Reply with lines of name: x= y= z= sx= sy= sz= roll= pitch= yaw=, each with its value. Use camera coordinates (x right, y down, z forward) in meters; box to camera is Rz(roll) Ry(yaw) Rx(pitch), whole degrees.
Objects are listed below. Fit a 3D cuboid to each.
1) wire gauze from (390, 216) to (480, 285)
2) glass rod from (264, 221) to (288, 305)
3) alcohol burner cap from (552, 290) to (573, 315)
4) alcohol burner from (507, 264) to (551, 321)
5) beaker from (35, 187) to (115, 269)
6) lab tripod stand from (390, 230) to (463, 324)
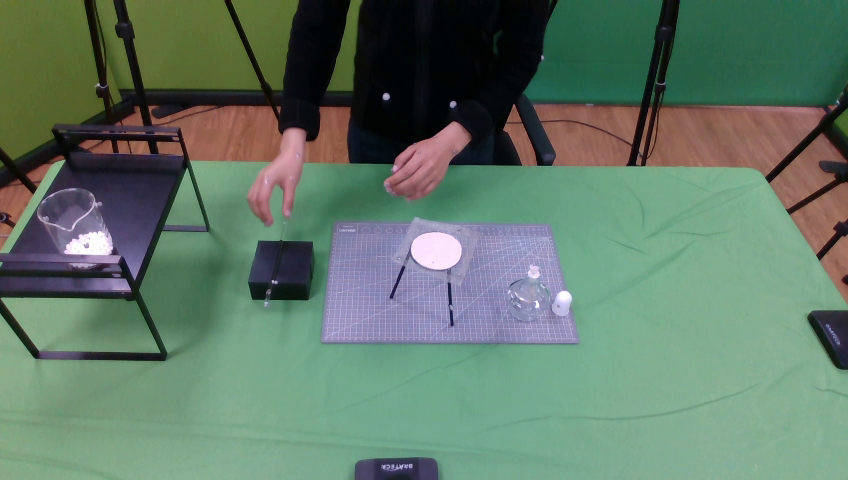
wire gauze: x=0.020 y=0.012 z=1.009 sx=0.125 sy=0.011 sz=0.121 roll=16 pitch=48 yaw=12
glass rod: x=-0.263 y=0.037 z=1.083 sx=0.008 sy=0.008 sz=0.198 roll=3 pitch=46 yaw=-1
alcohol burner cap: x=0.250 y=0.109 z=1.088 sx=0.034 sy=0.048 sz=0.033 roll=4 pitch=47 yaw=-4
alcohol burner: x=0.185 y=0.086 z=1.056 sx=0.078 sy=0.120 sz=0.077 roll=1 pitch=46 yaw=-1
beaker: x=-0.494 y=-0.012 z=0.867 sx=0.074 sy=0.101 sz=0.083 roll=-17 pitch=50 yaw=-18
lab tripod stand: x=0.014 y=0.060 z=1.056 sx=0.148 sy=0.132 sz=0.147 roll=1 pitch=48 yaw=-1
